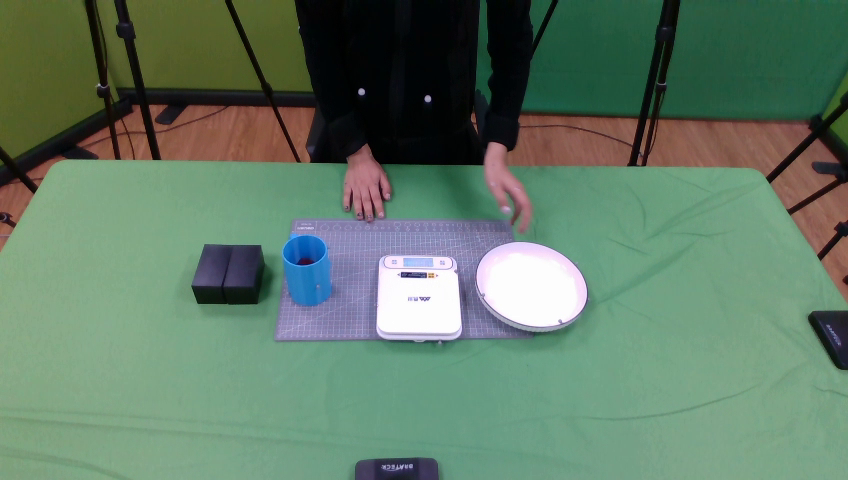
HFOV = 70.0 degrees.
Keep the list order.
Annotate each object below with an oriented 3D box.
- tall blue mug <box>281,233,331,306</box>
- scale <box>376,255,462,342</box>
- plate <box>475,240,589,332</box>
[{"bbox_3d":[-0.219,0.046,1.073,0.107,0.108,0.077,28,52,21],"label":"tall blue mug"},{"bbox_3d":[-0.010,0.096,1.094,0.149,0.032,0.199,2,46,-3],"label":"scale"},{"bbox_3d":[0.195,0.087,1.112,0.209,0.038,0.208,3,46,-3],"label":"plate"}]
